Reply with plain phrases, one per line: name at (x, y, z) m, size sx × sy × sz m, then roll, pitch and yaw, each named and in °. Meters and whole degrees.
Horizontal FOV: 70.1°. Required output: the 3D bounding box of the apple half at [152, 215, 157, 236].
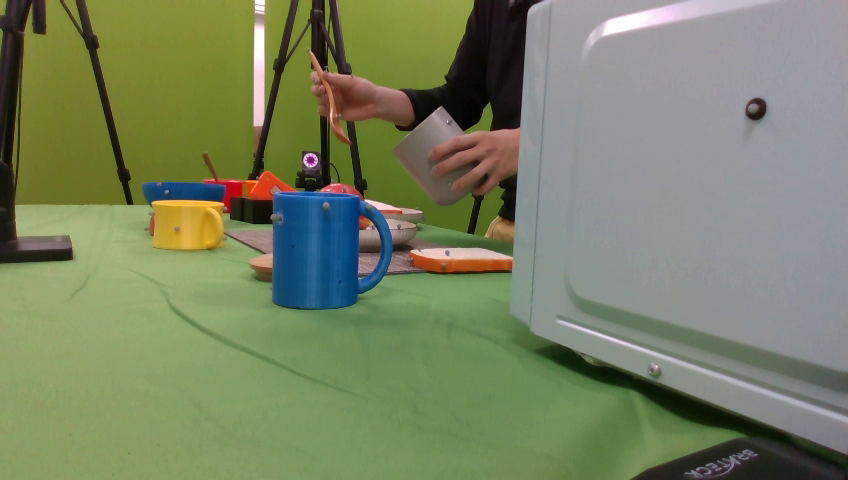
apple half at (-0.415, -0.034, 1.017) m, size 0.081 × 0.053 × 0.074 m, roll 1°, pitch 10°, yaw -9°

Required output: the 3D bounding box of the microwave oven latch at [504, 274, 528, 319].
microwave oven latch at (0.100, 0.041, 0.471) m, size 0.079 × 0.029 × 0.030 m, roll -1°, pitch 7°, yaw -27°

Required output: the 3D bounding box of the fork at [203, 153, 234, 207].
fork at (-0.480, -0.134, 1.411) m, size 0.028 × 0.018 × 0.207 m, roll 1°, pitch -35°, yaw 0°

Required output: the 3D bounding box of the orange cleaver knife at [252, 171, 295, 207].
orange cleaver knife at (-0.283, -0.086, 1.343) m, size 0.212 × 0.077 × 0.012 m, roll 24°, pitch -16°, yaw -41°

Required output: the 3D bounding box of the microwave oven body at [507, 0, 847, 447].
microwave oven body at (0.331, -0.042, 0.425) m, size 0.444 × 0.260 × 0.324 m, roll -2°, pitch 8°, yaw -31°

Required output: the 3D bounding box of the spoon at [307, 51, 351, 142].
spoon at (-0.157, -0.237, 0.988) m, size 0.021 × 0.193 × 0.042 m, roll -26°, pitch -22°, yaw 16°

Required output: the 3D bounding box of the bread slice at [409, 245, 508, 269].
bread slice at (0.048, 0.021, 0.816) m, size 0.132 × 0.019 × 0.104 m, roll -1°, pitch 7°, yaw -24°

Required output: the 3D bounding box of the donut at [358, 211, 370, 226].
donut at (-0.132, -0.042, 0.959) m, size 0.099 × 0.048 × 0.099 m, roll 2°, pitch 7°, yaw 0°

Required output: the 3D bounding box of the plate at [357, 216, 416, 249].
plate at (-0.116, -0.014, 0.967) m, size 0.208 × 0.039 × 0.207 m, roll 2°, pitch 7°, yaw 0°

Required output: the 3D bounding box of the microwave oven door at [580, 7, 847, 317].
microwave oven door at (0.295, -0.067, 0.570) m, size 0.358 × 0.243 × 0.039 m, roll -3°, pitch 9°, yaw -31°

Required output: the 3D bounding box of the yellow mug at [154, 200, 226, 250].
yellow mug at (-0.337, -0.022, 0.899) m, size 0.130 × 0.064 × 0.100 m, roll 8°, pitch 9°, yaw 34°

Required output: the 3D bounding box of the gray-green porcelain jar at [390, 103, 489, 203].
gray-green porcelain jar at (0.029, -0.129, 0.929) m, size 0.106 × 0.126 × 0.106 m, roll -41°, pitch 9°, yaw 8°

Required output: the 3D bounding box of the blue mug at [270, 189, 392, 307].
blue mug at (-0.090, 0.005, 0.588) m, size 0.117 × 0.106 × 0.082 m, roll 1°, pitch 7°, yaw -11°

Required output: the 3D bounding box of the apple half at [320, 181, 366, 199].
apple half at (-0.130, -0.077, 0.952) m, size 0.081 × 0.033 × 0.081 m, roll 3°, pitch 15°, yaw -1°

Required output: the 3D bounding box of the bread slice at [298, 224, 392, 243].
bread slice at (-0.120, -0.012, 0.970) m, size 0.106 × 0.018 × 0.135 m, roll 8°, pitch 10°, yaw 41°

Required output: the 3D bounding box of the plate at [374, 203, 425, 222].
plate at (-0.102, -0.053, 1.299) m, size 0.209 × 0.038 × 0.209 m, roll 2°, pitch 8°, yaw 0°

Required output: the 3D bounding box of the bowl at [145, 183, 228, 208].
bowl at (-0.459, -0.069, 1.175) m, size 0.151 × 0.077 × 0.151 m, roll 2°, pitch 7°, yaw 0°

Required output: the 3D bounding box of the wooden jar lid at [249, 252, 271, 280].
wooden jar lid at (-0.148, 0.028, 0.708) m, size 0.108 × 0.020 × 0.108 m, roll -1°, pitch 10°, yaw 0°
